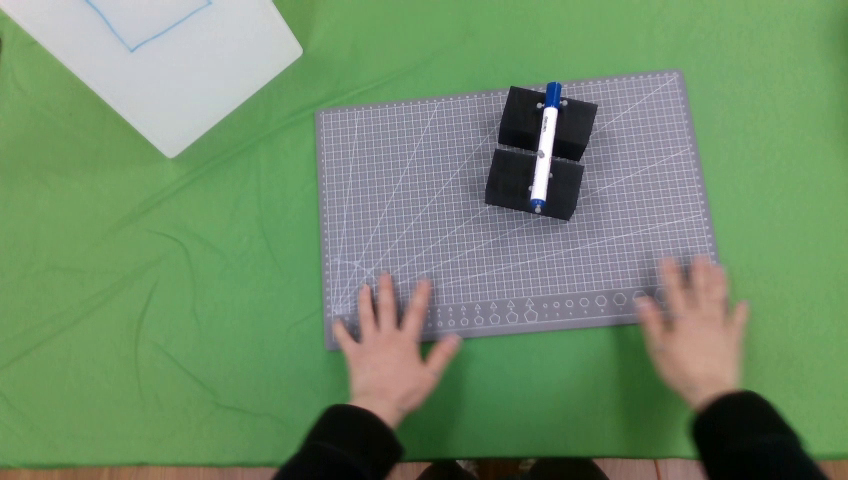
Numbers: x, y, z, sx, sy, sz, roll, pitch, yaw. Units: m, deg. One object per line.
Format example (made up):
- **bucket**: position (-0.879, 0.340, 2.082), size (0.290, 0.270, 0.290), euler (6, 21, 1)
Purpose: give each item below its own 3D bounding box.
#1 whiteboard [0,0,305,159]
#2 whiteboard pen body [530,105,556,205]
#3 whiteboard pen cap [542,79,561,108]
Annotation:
- **whiteboard**: position (-0.316, -0.283, 0.673), size (0.217, 0.308, 0.142), euler (-40, 58, -5)
- **whiteboard pen body**: position (0.131, -0.105, 0.659), size (0.017, 0.017, 0.140), euler (9, 75, 6)
- **whiteboard pen cap**: position (0.141, -0.160, 0.674), size (0.018, 0.018, 0.033), euler (9, 75, 6)
